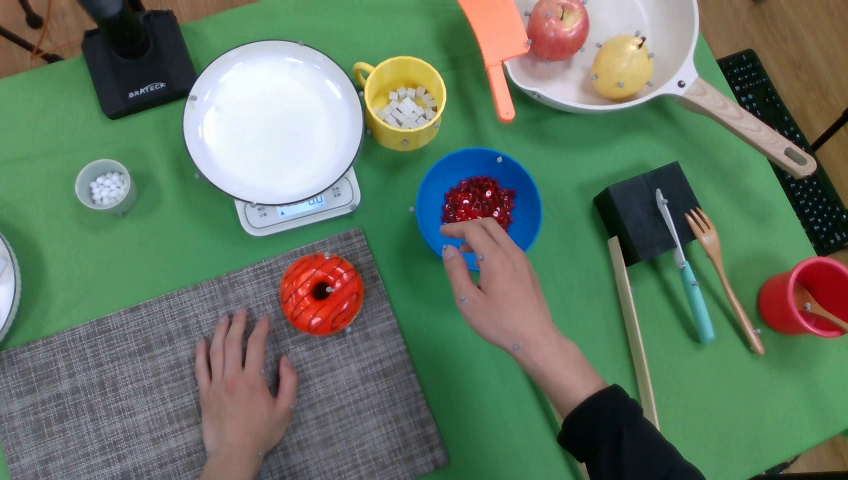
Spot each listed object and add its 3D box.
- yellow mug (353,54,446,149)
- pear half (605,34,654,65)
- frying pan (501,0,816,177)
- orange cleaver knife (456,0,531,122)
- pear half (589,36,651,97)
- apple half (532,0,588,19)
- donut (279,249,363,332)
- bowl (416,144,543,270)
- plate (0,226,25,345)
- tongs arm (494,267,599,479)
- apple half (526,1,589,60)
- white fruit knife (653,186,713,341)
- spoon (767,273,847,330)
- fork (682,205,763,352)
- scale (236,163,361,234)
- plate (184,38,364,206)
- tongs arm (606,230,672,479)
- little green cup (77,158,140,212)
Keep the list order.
[{"bbox_3d":[-0.037,-0.182,0.763,0.130,0.064,0.100,36,78,4],"label":"yellow mug"},{"bbox_3d":[0.266,-0.250,0.792,0.070,0.088,0.031,10,76,3],"label":"pear half"},{"bbox_3d":[0.289,-0.234,0.789,0.485,0.103,0.306,40,78,12],"label":"frying pan"},{"bbox_3d":[0.092,-0.250,0.754,0.077,0.012,0.210,-16,80,-6],"label":"orange cleaver knife"},{"bbox_3d":[0.254,-0.220,0.775,0.076,0.110,0.056,15,77,2],"label":"pear half"},{"bbox_3d":[0.181,-0.302,0.802,0.081,0.081,0.032,20,79,-1],"label":"apple half"},{"bbox_3d":[-0.121,0.059,0.710,0.099,0.048,0.098,1,79,-3],"label":"donut"},{"bbox_3d":[0.061,-0.032,0.735,0.151,0.077,0.150,1,78,-6],"label":"bowl"},{"bbox_3d":[-0.550,0.059,0.673,0.208,0.039,0.206,1,78,-6],"label":"plate"},{"bbox_3d":[0.181,0.199,0.721,0.051,0.026,0.383,-20,82,-14],"label":"tongs arm"},{"bbox_3d":[0.169,-0.266,0.794,0.081,0.075,0.053,21,80,-4],"label":"apple half"},{"bbox_3d":[0.318,0.030,0.748,0.016,0.027,0.207,-22,96,-9],"label":"white fruit knife"},{"bbox_3d":[0.492,0.098,0.718,0.041,0.022,0.191,-25,37,-11],"label":"spoon"},{"bbox_3d":[0.377,0.050,0.757,0.028,0.018,0.208,-30,98,-13],"label":"fork"},{"bbox_3d":[-0.173,-0.118,0.753,0.149,0.031,0.200,-16,80,-9],"label":"scale"},{"bbox_3d":[-0.175,-0.139,0.724,0.209,0.038,0.208,1,77,-6],"label":"plate"},{"bbox_3d":[0.263,0.178,0.739,0.028,0.028,0.386,-5,79,-15],"label":"tongs arm"},{"bbox_3d":[-0.371,-0.062,0.718,0.061,0.039,0.061,1,77,-5],"label":"little green cup"}]
